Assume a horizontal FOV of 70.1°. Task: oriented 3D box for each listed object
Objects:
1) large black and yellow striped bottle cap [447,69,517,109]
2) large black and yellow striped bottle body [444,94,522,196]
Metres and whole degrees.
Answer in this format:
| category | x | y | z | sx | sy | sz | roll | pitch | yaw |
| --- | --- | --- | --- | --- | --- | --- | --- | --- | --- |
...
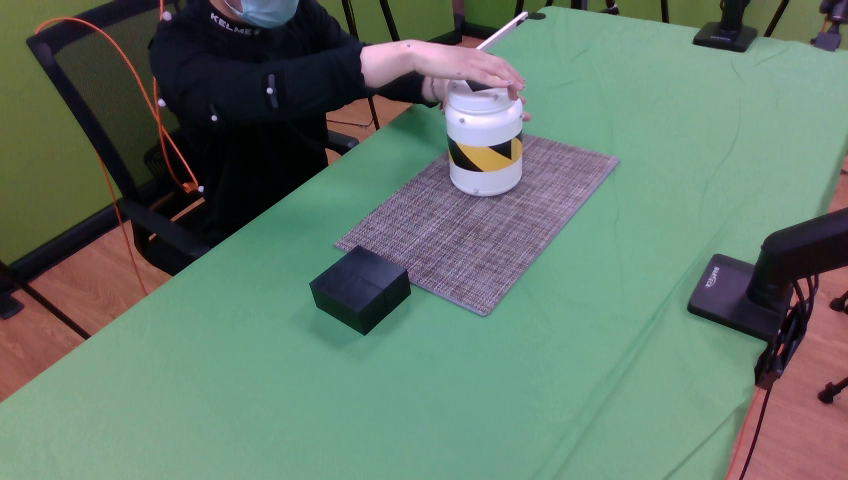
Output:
| category | x | y | z | sx | sy | sz | roll | pitch | yaw |
| --- | --- | --- | --- | --- | --- | --- | --- | --- | --- |
| large black and yellow striped bottle cap | 0.094 | -0.247 | 0.982 | 0.115 | 0.019 | 0.114 | -3 | 40 | 3 |
| large black and yellow striped bottle body | 0.103 | -0.183 | 1.037 | 0.131 | 0.185 | 0.130 | -4 | 41 | 4 |
